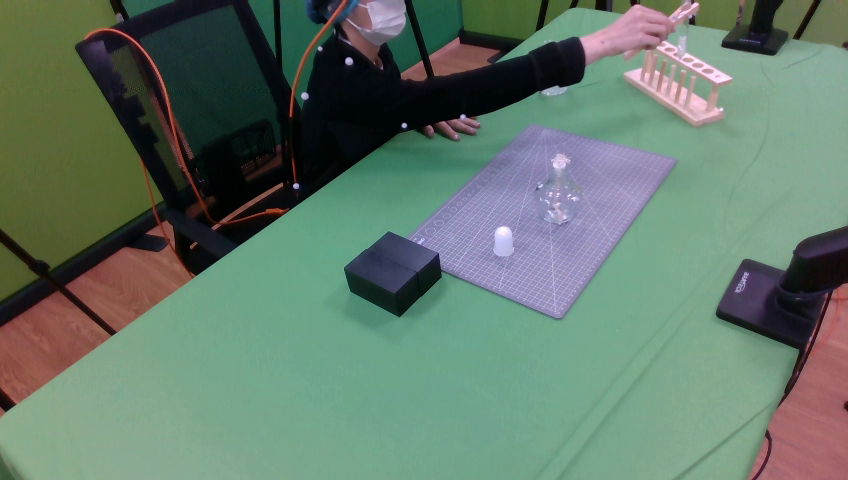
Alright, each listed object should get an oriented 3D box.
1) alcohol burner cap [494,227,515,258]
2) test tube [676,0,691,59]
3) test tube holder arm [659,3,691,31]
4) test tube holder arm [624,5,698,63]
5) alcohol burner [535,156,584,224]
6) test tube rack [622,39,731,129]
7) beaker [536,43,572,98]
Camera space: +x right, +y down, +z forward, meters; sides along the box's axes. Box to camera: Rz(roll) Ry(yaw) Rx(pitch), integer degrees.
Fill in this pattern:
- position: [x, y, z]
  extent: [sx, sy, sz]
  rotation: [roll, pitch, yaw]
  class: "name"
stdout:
- position: [0.124, 0.001, 0.936]
  extent: [0.034, 0.048, 0.033]
  rotation: [-4, 40, 4]
  class: "alcohol burner cap"
- position: [0.471, -0.393, 1.095]
  extent: [0.017, 0.151, 0.017]
  rotation: [-8, 50, 11]
  class: "test tube"
- position: [0.447, -0.393, 1.076]
  extent: [0.088, 0.015, 0.010]
  rotation: [-44, 49, -19]
  class: "test tube holder arm"
- position: [0.417, -0.362, 1.060]
  extent: [0.179, 0.015, 0.013]
  rotation: [-38, 47, -14]
  class: "test tube holder arm"
- position: [0.217, -0.085, 0.967]
  extent: [0.078, 0.119, 0.077]
  rotation: [-3, 41, 3]
  class: "alcohol burner"
- position: [0.506, -0.325, 1.234]
  extent: [0.067, 0.085, 0.240]
  rotation: [-18, 41, -11]
  class: "test tube rack"
- position: [0.281, -0.368, 1.311]
  extent: [0.074, 0.101, 0.084]
  rotation: [4, 41, 14]
  class: "beaker"
